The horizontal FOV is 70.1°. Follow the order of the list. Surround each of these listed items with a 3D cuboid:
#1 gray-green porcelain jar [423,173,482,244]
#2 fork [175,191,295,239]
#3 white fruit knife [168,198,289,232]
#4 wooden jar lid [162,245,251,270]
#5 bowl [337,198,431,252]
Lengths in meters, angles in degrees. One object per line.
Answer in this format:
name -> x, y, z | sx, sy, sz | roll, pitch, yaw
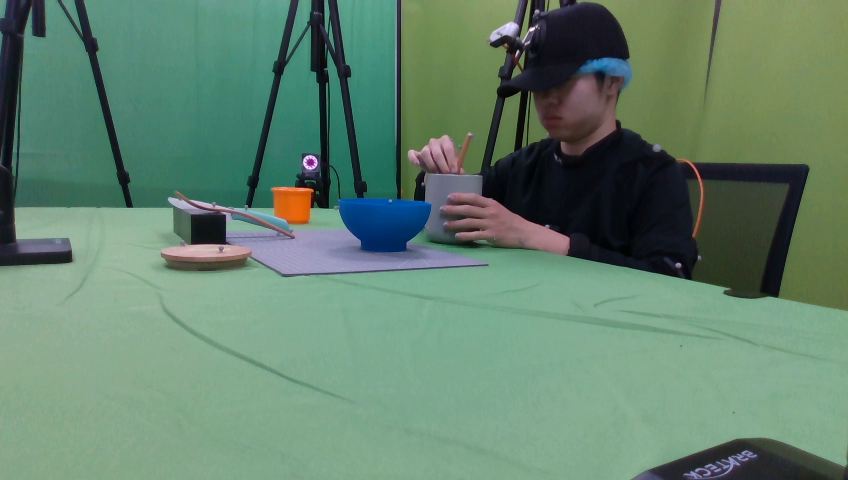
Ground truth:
gray-green porcelain jar -> 0.052, -0.059, 1.116 | 0.106, 0.126, 0.106 | 3, 7, 0
fork -> -0.305, -0.039, 0.993 | 0.208, 0.018, 0.028 | 19, -9, -34
white fruit knife -> -0.329, -0.044, 1.036 | 0.208, 0.027, 0.016 | 14, -2, -32
wooden jar lid -> -0.278, 0.022, 0.777 | 0.108, 0.020, 0.108 | 2, 6, 0
bowl -> -0.066, -0.024, 0.967 | 0.151, 0.077, 0.151 | 3, 7, 0
